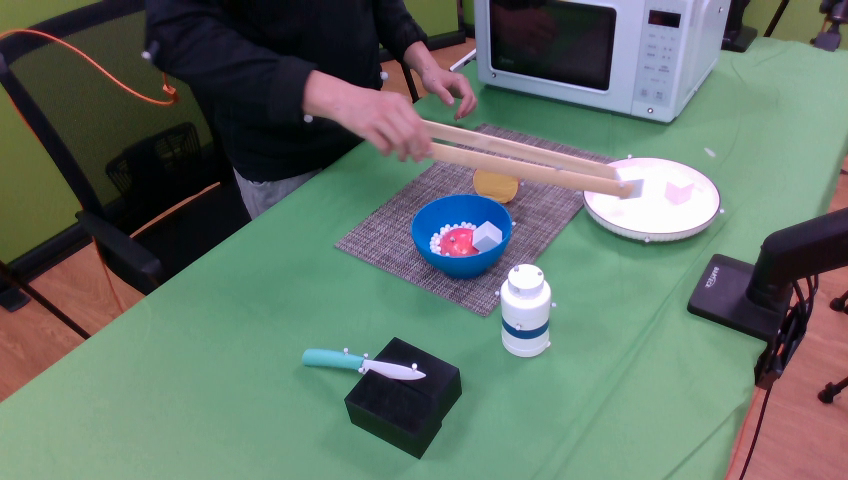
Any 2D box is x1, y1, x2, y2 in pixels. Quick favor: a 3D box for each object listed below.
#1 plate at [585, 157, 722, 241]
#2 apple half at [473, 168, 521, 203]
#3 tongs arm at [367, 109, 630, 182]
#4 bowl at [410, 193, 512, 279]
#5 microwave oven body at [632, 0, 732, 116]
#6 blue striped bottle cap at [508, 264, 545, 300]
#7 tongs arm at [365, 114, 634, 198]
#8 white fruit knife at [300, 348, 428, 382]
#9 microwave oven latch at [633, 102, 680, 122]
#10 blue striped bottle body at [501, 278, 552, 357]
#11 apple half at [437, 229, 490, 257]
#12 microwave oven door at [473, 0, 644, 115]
[{"bbox_3d":[0.367,-0.063,0.979,0.207,0.039,0.206,-4,40,4],"label":"plate"},{"bbox_3d":[0.128,-0.107,1.030,0.080,0.075,0.053,4,38,19],"label":"apple half"},{"bbox_3d":[0.110,-0.132,0.867,0.388,0.028,0.028,12,46,-6],"label":"tongs arm"},{"bbox_3d":[0.058,0.005,0.905,0.151,0.077,0.150,-4,40,4],"label":"bowl"},{"bbox_3d":[0.377,-0.462,1.267,0.438,0.261,0.327,21,48,30],"label":"microwave oven body"},{"bbox_3d":[0.125,0.051,0.735,0.044,0.021,0.044,-6,39,5],"label":"blue striped bottle cap"},{"bbox_3d":[0.108,-0.116,0.849,0.386,0.026,0.050,10,43,-9],"label":"tongs arm"},{"bbox_3d":[-0.079,0.154,0.748,0.206,0.027,0.016,1,20,35],"label":"white fruit knife"},{"bbox_3d":[0.444,-0.249,1.157,0.078,0.029,0.030,21,49,30],"label":"microwave oven latch"},{"bbox_3d":[0.130,0.089,0.769,0.063,0.121,0.063,-4,41,4],"label":"blue striped bottle body"},{"bbox_3d":[0.056,0.003,0.902,0.081,0.033,0.081,-2,38,2],"label":"apple half"},{"bbox_3d":[0.257,-0.396,1.199,0.353,0.245,0.039,21,48,29],"label":"microwave oven door"}]
